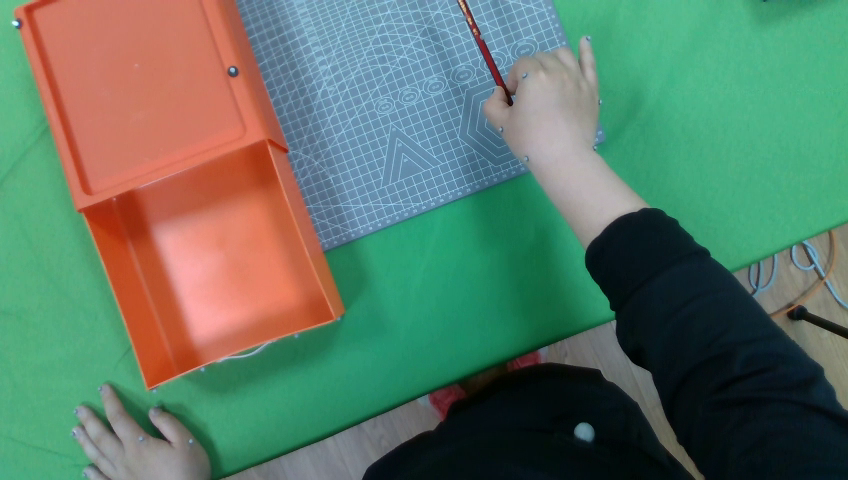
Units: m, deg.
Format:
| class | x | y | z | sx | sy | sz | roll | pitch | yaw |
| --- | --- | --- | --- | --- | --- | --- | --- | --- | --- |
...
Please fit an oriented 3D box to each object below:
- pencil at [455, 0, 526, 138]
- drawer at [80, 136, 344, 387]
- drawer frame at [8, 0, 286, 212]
| class | x | y | z | sx | sy | sz | roll | pitch | yaw |
| --- | --- | --- | --- | --- | --- | --- | --- | --- | --- |
| pencil | 0.054 | -0.185 | 0.575 | 0.012 | 0.012 | 0.194 | -26 | 92 | 3 |
| drawer | -0.209 | 0.013 | 0.605 | 0.194 | 0.073 | 0.211 | -21 | 90 | 3 |
| drawer frame | -0.273 | -0.156 | 0.607 | 0.201 | 0.083 | 0.213 | -21 | 87 | 4 |
